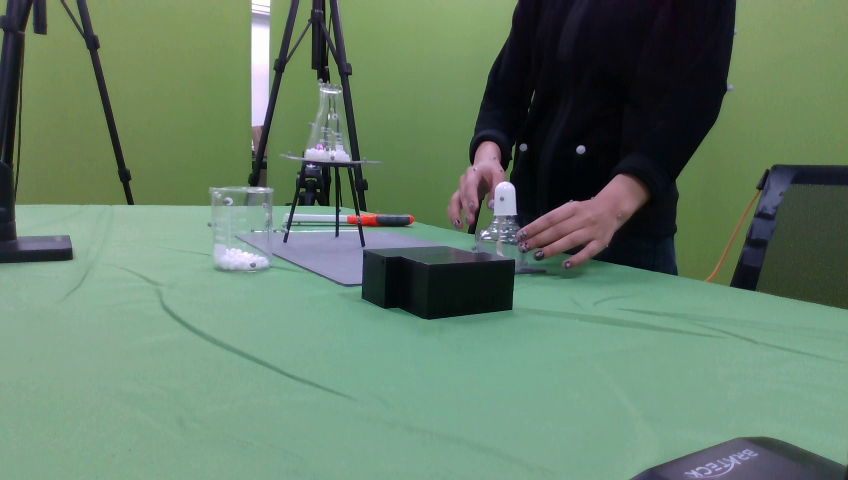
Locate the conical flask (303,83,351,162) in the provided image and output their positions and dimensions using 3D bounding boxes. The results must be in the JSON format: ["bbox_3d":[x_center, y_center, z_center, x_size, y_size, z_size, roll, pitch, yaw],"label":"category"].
[{"bbox_3d":[-0.151,-0.186,0.963,0.075,0.122,0.075,4,6,0],"label":"conical flask"}]

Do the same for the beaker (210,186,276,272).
[{"bbox_3d":[-0.224,-0.014,0.738,0.084,0.100,0.074,4,7,16],"label":"beaker"}]

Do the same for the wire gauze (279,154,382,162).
[{"bbox_3d":[-0.149,-0.128,0.974,0.124,0.011,0.122,6,6,41],"label":"wire gauze"}]

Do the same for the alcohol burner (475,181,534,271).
[{"bbox_3d":[0.108,-0.019,0.803,0.078,0.119,0.078,3,5,0],"label":"alcohol burner"}]

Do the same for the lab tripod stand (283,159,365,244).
[{"bbox_3d":[-0.151,-0.063,0.983,0.148,0.131,0.148,4,7,0],"label":"lab tripod stand"}]

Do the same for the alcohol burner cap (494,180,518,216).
[{"bbox_3d":[0.108,-0.055,0.799,0.034,0.048,0.034,-2,3,0],"label":"alcohol burner cap"}]

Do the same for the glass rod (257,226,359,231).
[{"bbox_3d":[-0.216,-0.022,1.151,0.201,0.008,0.008,-2,8,-28],"label":"glass rod"}]

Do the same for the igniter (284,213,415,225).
[{"bbox_3d":[-0.154,-0.045,1.282,0.278,0.025,0.057,0,-3,-20],"label":"igniter"}]
